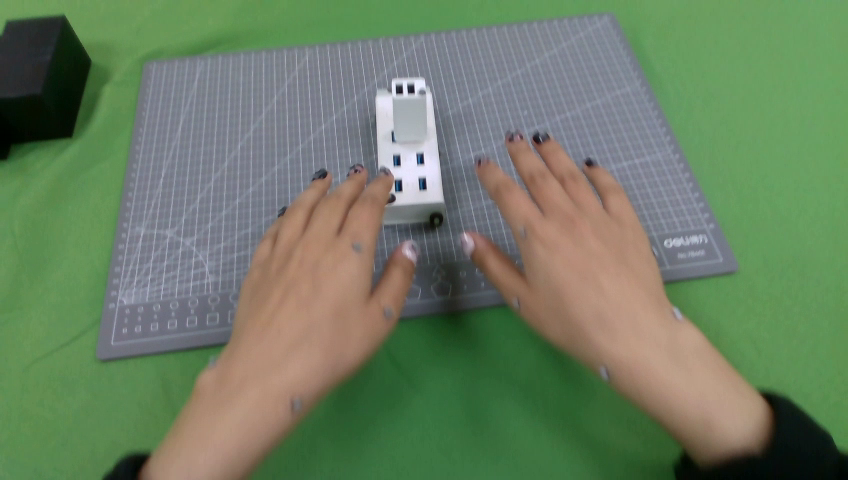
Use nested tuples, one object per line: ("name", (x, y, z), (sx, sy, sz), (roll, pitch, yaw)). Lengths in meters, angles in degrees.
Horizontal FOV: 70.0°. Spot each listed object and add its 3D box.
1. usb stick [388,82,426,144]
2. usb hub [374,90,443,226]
("usb stick", (-0.012, -0.092, 0.466), (0.027, 0.060, 0.021), (-7, 56, -1))
("usb hub", (-0.015, -0.069, 0.486), (0.049, 0.025, 0.124), (-4, 56, -1))
